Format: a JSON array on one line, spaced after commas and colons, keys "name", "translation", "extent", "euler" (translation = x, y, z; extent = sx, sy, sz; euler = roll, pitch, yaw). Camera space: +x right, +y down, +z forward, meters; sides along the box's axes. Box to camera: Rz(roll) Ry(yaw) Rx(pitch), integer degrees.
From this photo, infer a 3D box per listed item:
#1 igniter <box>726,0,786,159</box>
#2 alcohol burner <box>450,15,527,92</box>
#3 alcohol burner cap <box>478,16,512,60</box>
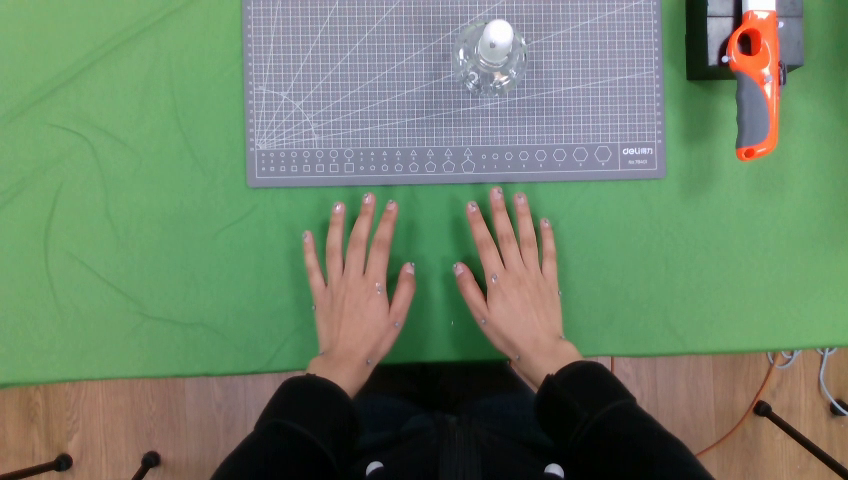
[{"name": "igniter", "translation": [0.331, -0.218, 0.605], "extent": [0.057, 0.025, 0.276], "euler": [2, 87, 0]}, {"name": "alcohol burner", "translation": [0.066, -0.189, 0.597], "extent": [0.078, 0.119, 0.078], "euler": [0, 87, -3]}, {"name": "alcohol burner cap", "translation": [0.068, -0.189, 0.561], "extent": [0.034, 0.048, 0.034], "euler": [0, 91, 3]}]
